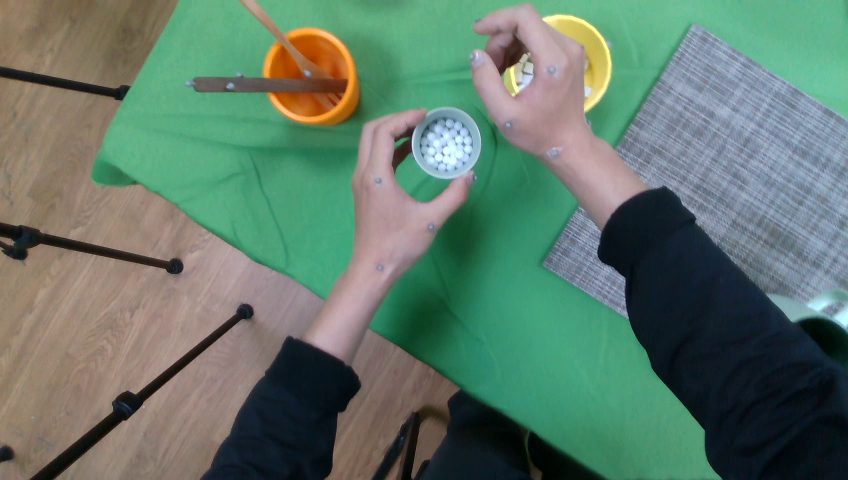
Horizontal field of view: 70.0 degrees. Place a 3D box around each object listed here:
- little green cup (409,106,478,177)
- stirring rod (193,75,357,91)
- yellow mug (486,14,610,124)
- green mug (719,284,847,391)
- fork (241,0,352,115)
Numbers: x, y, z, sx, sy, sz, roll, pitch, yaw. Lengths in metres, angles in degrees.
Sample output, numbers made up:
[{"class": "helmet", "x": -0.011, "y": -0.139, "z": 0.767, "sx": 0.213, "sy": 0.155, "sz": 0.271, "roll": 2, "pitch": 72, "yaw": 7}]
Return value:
[{"class": "little green cup", "x": 0.018, "y": -0.088, "z": 0.545, "sx": 0.061, "sy": 0.038, "sz": 0.062, "roll": 0, "pitch": 101, "yaw": 2}, {"class": "stirring rod", "x": -0.141, "y": -0.156, "z": 0.600, "sx": 0.177, "sy": 0.006, "sz": 0.014, "roll": -11, "pitch": 96, "yaw": -39}, {"class": "yellow mug", "x": 0.121, "y": -0.165, "z": 0.626, "sx": 0.131, "sy": 0.064, "sz": 0.100, "roll": -33, "pitch": 93, "yaw": 5}, {"class": "green mug", "x": 0.375, "y": 0.089, "z": 0.613, "sx": 0.125, "sy": 0.105, "sz": 0.092, "roll": -42, "pitch": 91, "yaw": 4}, {"class": "fork", "x": -0.139, "y": -0.198, "z": 0.591, "sx": 0.028, "sy": 0.018, "sz": 0.210, "roll": -43, "pitch": 135, "yaw": 2}]
